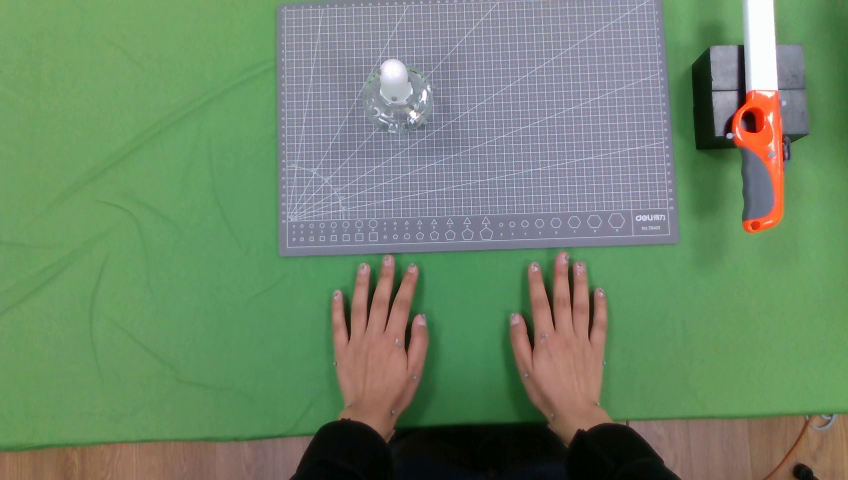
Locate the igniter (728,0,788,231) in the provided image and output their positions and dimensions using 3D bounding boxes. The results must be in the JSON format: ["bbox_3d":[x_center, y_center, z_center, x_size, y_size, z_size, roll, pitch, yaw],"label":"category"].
[{"bbox_3d":[0.348,-0.145,0.634,0.057,0.025,0.275,2,83,4],"label":"igniter"}]

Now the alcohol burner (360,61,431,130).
[{"bbox_3d":[-0.031,-0.160,0.643,0.078,0.119,0.077,0,83,0],"label":"alcohol burner"}]

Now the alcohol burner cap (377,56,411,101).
[{"bbox_3d":[-0.032,-0.164,0.608,0.034,0.048,0.033,-1,77,3],"label":"alcohol burner cap"}]
